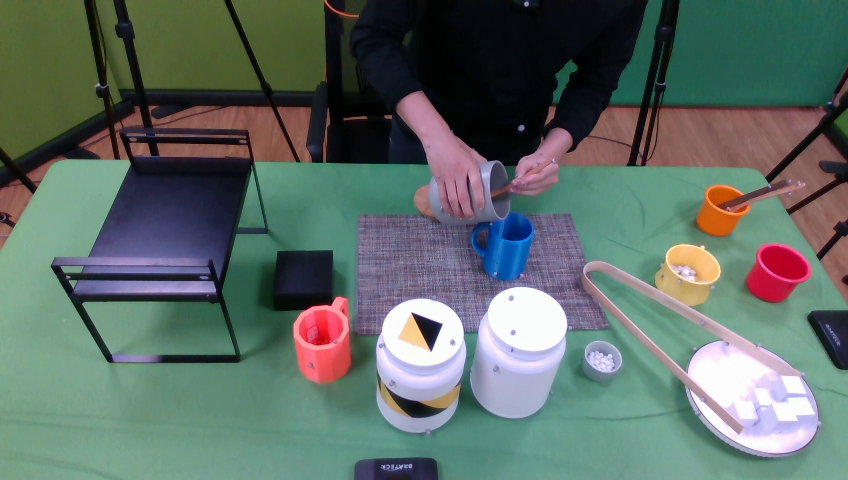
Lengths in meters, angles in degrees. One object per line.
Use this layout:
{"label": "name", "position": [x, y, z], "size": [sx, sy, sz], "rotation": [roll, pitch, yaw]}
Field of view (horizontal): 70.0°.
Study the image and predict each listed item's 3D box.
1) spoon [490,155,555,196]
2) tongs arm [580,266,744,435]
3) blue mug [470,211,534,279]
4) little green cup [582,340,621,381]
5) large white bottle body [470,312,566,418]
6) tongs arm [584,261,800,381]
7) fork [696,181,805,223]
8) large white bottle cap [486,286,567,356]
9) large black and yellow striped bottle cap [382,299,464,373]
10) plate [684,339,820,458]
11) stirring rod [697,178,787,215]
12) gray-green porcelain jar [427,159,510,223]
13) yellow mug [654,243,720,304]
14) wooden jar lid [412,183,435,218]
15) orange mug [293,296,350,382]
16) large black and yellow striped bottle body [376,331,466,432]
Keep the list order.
{"label": "spoon", "position": [0.147, -0.098, 1.073], "size": [0.194, 0.022, 0.041], "rotation": [-27, 24, 22]}
{"label": "tongs arm", "position": [0.384, 0.173, 1.028], "size": [0.028, 0.028, 0.385], "rotation": [-25, 46, -15]}
{"label": "blue mug", "position": [0.141, 0.005, 1.140], "size": [0.116, 0.106, 0.082], "rotation": [18, 48, 13]}
{"label": "little green cup", "position": [0.295, 0.204, 1.015], "size": [0.061, 0.039, 0.061], "rotation": [2, 45, -2]}
{"label": "large white bottle body", "position": [0.143, 0.174, 0.930], "size": [0.131, 0.185, 0.130], "rotation": [2, 46, -2]}
{"label": "tongs arm", "position": [0.452, 0.137, 1.064], "size": [0.051, 0.027, 0.382], "rotation": [-34, 50, -27]}
{"label": "fork", "position": [0.659, -0.077, 1.232], "size": [0.207, 0.019, 0.028], "rotation": [-26, 35, 34]}
{"label": "large white bottle cap", "position": [0.147, 0.114, 0.869], "size": [0.115, 0.018, 0.114], "rotation": [3, 46, -3]}
{"label": "large black and yellow striped bottle cap", "position": [-0.002, 0.132, 0.843], "size": [0.115, 0.019, 0.114], "rotation": [2, 46, -2]}
{"label": "plate", "position": [0.523, 0.256, 0.982], "size": [0.208, 0.039, 0.206], "rotation": [2, 46, -2]}
{"label": "stirring rod", "position": [0.650, -0.088, 1.245], "size": [0.006, 0.176, 0.014], "rotation": [29, 50, -39]}
{"label": "gray-green porcelain jar", "position": [0.077, -0.084, 1.082], "size": [0.126, 0.106, 0.105], "rotation": [-4, 41, 28]}
{"label": "yellow mug", "position": [0.504, 0.054, 1.154], "size": [0.099, 0.064, 0.130], "rotation": [28, 50, 22]}
{"label": "wooden jar lid", "position": [0.029, -0.083, 1.276], "size": [0.108, 0.021, 0.107], "rotation": [3, 43, -3]}
{"label": "orange mug", "position": [-0.158, 0.154, 0.985], "size": [0.083, 0.101, 0.125], "rotation": [17, 52, 11]}
{"label": "large black and yellow striped bottle body", "position": [-0.007, 0.189, 0.905], "size": [0.131, 0.185, 0.130], "rotation": [2, 46, -2]}
